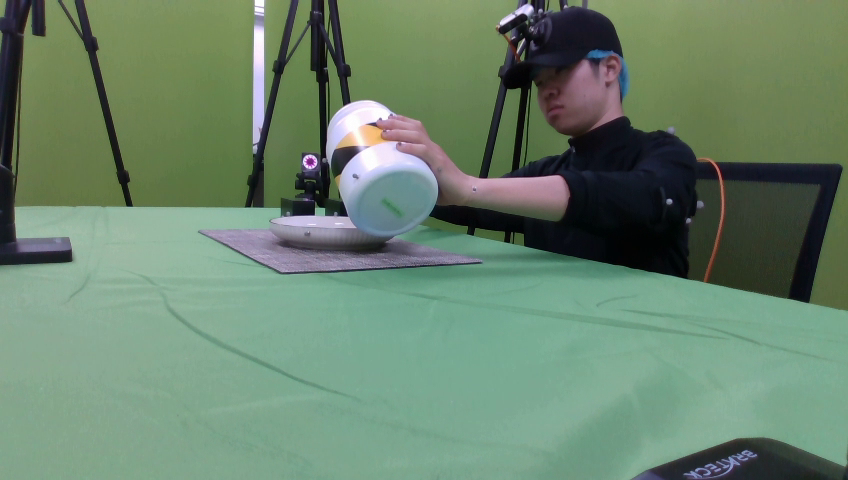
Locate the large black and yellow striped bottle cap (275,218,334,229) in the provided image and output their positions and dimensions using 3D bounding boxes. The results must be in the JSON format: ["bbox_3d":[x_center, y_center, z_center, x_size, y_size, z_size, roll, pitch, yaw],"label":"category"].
[{"bbox_3d":[-0.236,-0.033,1.197,0.115,0.019,0.115,2,3,0],"label":"large black and yellow striped bottle cap"}]

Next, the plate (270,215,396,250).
[{"bbox_3d":[-0.145,-0.013,0.992,0.208,0.039,0.207,3,7,0],"label":"plate"}]

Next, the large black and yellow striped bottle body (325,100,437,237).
[{"bbox_3d":[-0.069,-0.109,0.877,0.131,0.130,0.183,-1,43,-25],"label":"large black and yellow striped bottle body"}]
